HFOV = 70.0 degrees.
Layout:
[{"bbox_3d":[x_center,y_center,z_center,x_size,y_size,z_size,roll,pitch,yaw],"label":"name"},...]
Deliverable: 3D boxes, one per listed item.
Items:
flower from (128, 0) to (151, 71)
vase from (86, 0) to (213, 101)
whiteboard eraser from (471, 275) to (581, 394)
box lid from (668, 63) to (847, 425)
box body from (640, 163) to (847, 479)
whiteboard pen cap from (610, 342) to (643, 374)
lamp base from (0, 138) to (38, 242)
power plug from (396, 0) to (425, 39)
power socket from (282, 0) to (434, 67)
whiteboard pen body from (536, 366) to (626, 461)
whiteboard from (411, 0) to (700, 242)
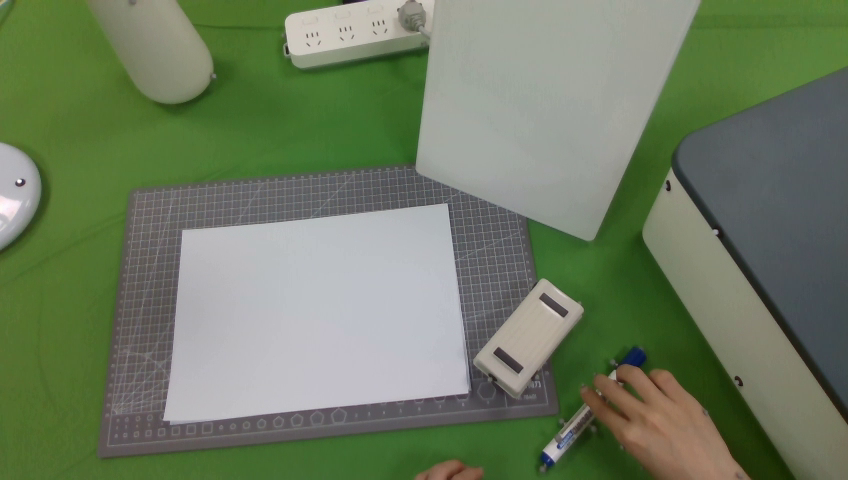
[{"bbox_3d":[-0.299,-0.275,0.603,0.038,0.362,0.044,42,64,1],"label":"flower"},{"bbox_3d":[-0.316,-0.247,0.681,0.098,0.201,0.097,-1,65,3],"label":"vase"},{"bbox_3d":[0.101,0.092,0.597,0.055,0.042,0.112,38,73,18],"label":"whiteboard eraser"},{"bbox_3d":[0.392,0.017,0.474,0.263,0.015,0.368,-23,67,-7],"label":"box lid"},{"bbox_3d":[0.397,0.050,0.541,0.254,0.161,0.361,-23,67,-8],"label":"box body"},{"bbox_3d":[0.199,0.118,0.599,0.033,0.018,0.018,-42,70,-14],"label":"whiteboard pen cap"},{"bbox_3d":[-0.541,-0.088,0.630,0.178,0.182,0.160,25,69,16],"label":"lamp base"},{"bbox_3d":[-0.017,-0.264,0.743,0.035,0.053,0.072,-1,72,2],"label":"power plug"},{"bbox_3d":[-0.071,-0.272,0.773,0.227,0.033,0.071,-10,67,-3],"label":"power socket"},{"bbox_3d":[0.159,0.158,0.584,0.140,0.017,0.017,-42,70,-15],"label":"whiteboard pen body"},{"bbox_3d":[0.129,-0.183,0.611,0.216,0.308,0.143,24,48,13],"label":"whiteboard"}]
